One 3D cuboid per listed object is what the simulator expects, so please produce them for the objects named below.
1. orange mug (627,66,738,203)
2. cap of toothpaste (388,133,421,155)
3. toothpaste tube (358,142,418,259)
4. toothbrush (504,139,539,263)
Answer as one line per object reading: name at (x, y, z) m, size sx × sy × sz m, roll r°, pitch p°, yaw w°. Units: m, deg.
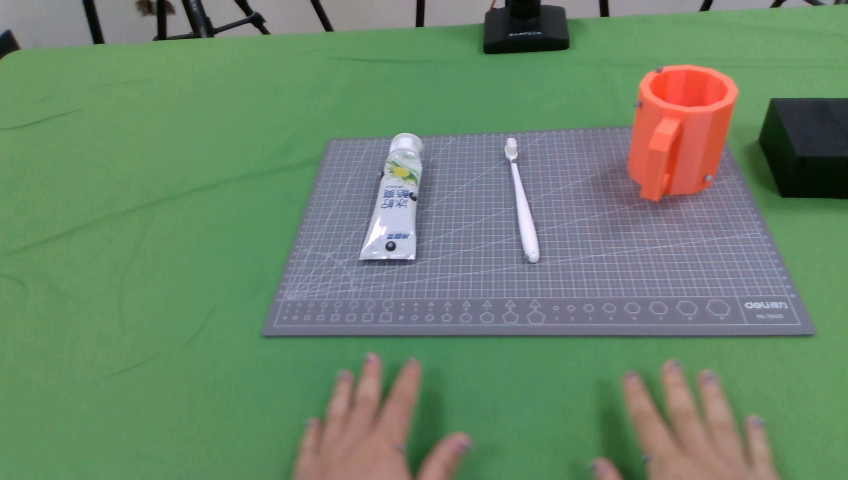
orange mug at (0.241, -0.097, 0.585) m, size 0.083 × 0.102 × 0.126 m, roll 20°, pitch 46°, yaw 27°
cap of toothpaste at (-0.022, -0.102, 0.670) m, size 0.037 × 0.038 × 0.011 m, roll 2°, pitch 51°, yaw 10°
toothpaste tube at (-0.030, -0.044, 0.620) m, size 0.055 × 0.035 × 0.163 m, roll -4°, pitch 48°, yaw 10°
toothbrush at (0.098, -0.045, 0.611) m, size 0.014 × 0.017 × 0.180 m, roll 4°, pitch 45°, yaw -6°
